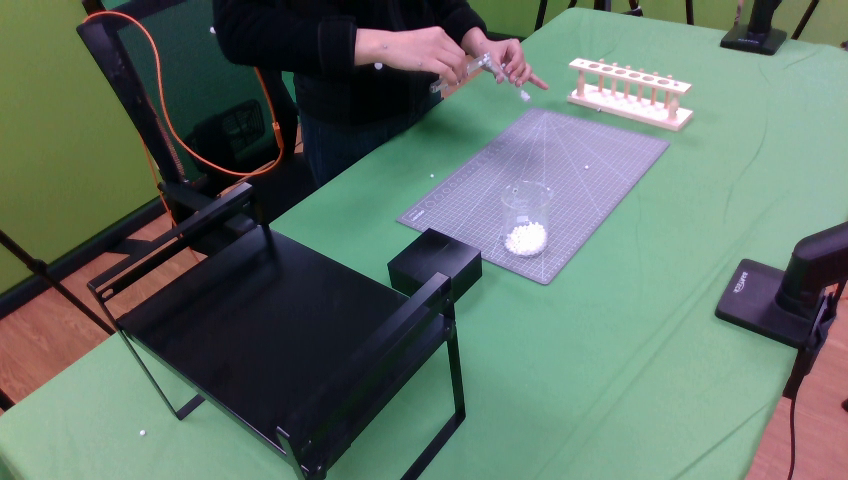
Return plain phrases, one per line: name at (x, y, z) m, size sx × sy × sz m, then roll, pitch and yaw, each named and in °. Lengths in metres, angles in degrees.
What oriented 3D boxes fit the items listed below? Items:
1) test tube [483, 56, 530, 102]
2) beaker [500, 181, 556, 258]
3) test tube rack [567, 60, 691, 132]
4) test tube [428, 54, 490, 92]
test tube at (0.153, -0.289, 1.096) m, size 0.017 × 0.151 × 0.017 m, roll -15°, pitch 64°, yaw 35°
beaker at (0.159, -0.030, 0.922) m, size 0.084 × 0.100 × 0.073 m, roll -13°, pitch 41°, yaw -8°
test tube rack at (0.411, -0.299, 1.217) m, size 0.240 × 0.085 × 0.067 m, roll 26°, pitch 51°, yaw 34°
test tube at (0.059, -0.276, 0.997) m, size 0.017 × 0.017 × 0.151 m, roll 26°, pitch 47°, yaw 33°
